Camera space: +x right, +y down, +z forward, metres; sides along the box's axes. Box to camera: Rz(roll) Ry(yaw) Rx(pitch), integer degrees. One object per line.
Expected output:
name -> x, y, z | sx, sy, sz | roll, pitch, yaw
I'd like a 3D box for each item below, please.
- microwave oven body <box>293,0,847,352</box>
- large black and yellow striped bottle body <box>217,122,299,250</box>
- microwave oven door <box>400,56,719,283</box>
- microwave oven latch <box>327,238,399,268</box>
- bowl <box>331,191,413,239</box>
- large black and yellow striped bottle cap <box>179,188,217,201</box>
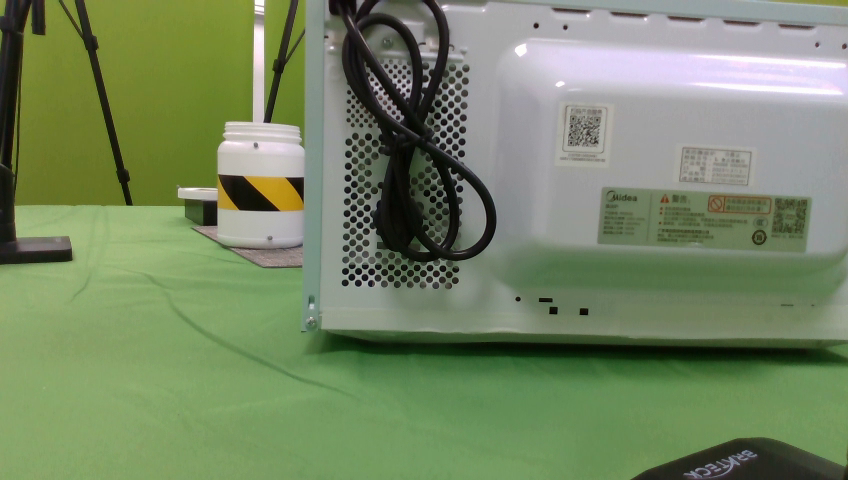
microwave oven body -> 0.122, -0.055, 0.550 | 0.442, 0.260, 0.325 | 3, 7, -5
large black and yellow striped bottle body -> -0.250, -0.084, 0.931 | 0.131, 0.184, 0.130 | 2, 7, 0
microwave oven door -> 0.155, -0.077, 0.698 | 0.356, 0.243, 0.039 | 2, 8, -5
microwave oven latch -> -0.069, 0.015, 0.694 | 0.079, 0.029, 0.030 | 3, 7, -3
bowl -> -0.096, -0.045, 1.108 | 0.151, 0.077, 0.151 | 3, 8, 0
large black and yellow striped bottle cap -> -0.434, -0.093, 1.226 | 0.115, 0.019, 0.115 | 3, 9, 0
